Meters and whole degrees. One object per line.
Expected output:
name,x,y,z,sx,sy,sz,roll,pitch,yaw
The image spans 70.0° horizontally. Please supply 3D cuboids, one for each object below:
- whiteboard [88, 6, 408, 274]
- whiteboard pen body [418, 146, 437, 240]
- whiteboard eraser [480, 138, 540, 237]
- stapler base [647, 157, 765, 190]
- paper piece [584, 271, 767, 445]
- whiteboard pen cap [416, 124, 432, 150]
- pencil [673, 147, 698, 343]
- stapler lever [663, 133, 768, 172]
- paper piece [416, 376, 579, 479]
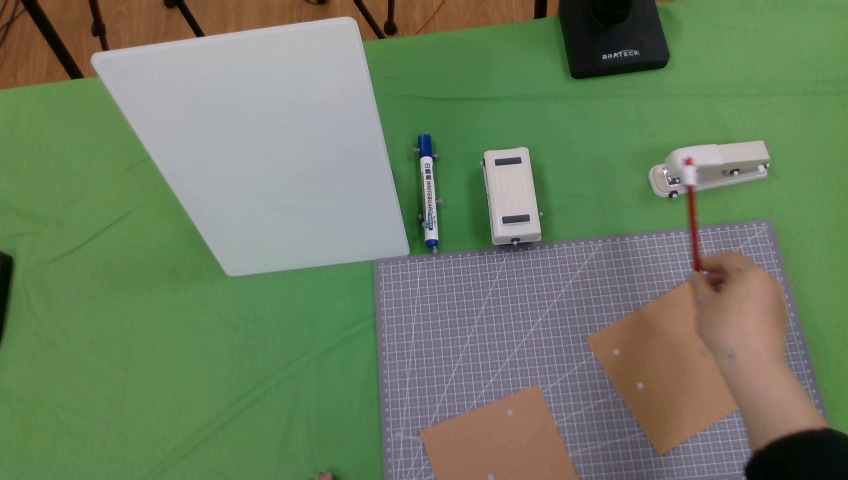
whiteboard,-0.144,-0.122,0.629,0.217,0.308,0.142,-6,51,4
whiteboard pen body,0.003,-0.068,0.718,0.017,0.017,0.140,-5,71,4
whiteboard eraser,0.098,-0.059,0.694,0.055,0.042,0.112,-7,71,4
stapler base,0.326,-0.090,0.695,0.130,0.024,0.041,-11,73,-1
paper piece,0.261,0.120,0.635,0.136,0.009,0.137,-29,72,-1
whiteboard pen cap,0.000,-0.123,0.736,0.018,0.018,0.033,-8,69,3
pencil,0.256,0.003,0.589,0.012,0.012,0.193,-2,82,5
stapler lever,0.325,-0.099,0.673,0.118,0.040,0.026,-12,72,1
paper piece,0.077,0.224,0.614,0.135,0.004,0.134,-20,71,-3
